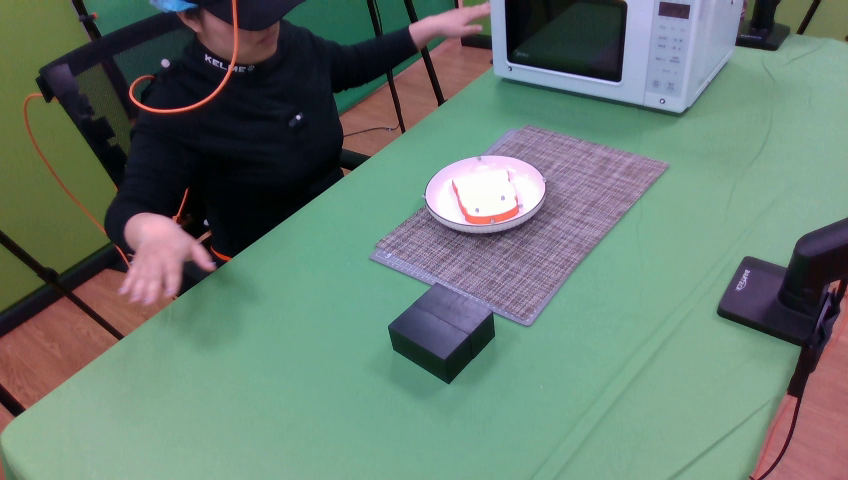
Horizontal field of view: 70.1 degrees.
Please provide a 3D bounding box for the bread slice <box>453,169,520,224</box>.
[{"bbox_3d":[0.112,-0.076,1.040,0.105,0.019,0.130,-11,40,-1],"label":"bread slice"}]

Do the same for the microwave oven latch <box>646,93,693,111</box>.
[{"bbox_3d":[0.477,-0.273,1.177,0.078,0.029,0.030,22,50,33],"label":"microwave oven latch"}]

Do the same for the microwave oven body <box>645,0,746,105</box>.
[{"bbox_3d":[0.417,-0.486,1.290,0.438,0.261,0.327,22,50,33],"label":"microwave oven body"}]

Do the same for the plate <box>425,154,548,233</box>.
[{"bbox_3d":[0.108,-0.076,1.038,0.209,0.038,0.208,-5,39,5],"label":"plate"}]

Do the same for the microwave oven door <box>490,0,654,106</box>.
[{"bbox_3d":[0.293,-0.420,1.228,0.353,0.245,0.039,22,49,32],"label":"microwave oven door"}]
